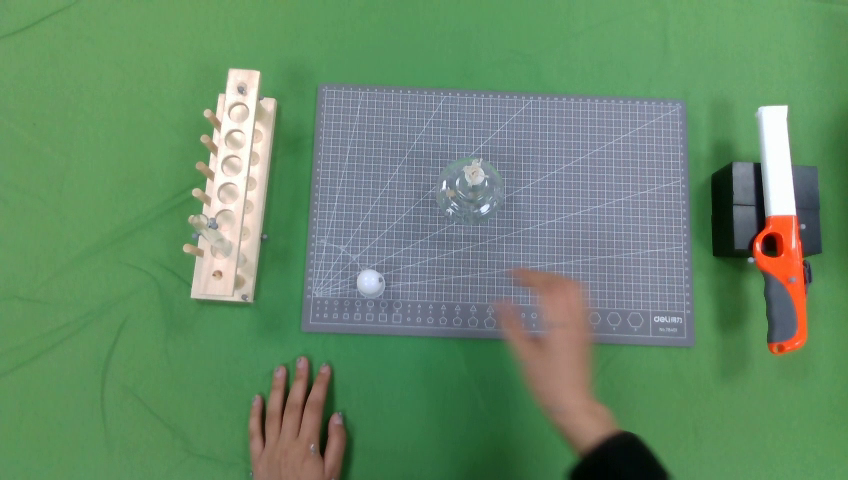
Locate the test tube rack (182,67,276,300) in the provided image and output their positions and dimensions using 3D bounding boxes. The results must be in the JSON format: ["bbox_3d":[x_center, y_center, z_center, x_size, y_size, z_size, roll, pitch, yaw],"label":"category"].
[{"bbox_3d":[-0.219,-0.060,0.669,0.067,0.085,0.241,5,80,-1],"label":"test tube rack"}]

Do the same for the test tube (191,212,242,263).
[{"bbox_3d":[-0.206,0.001,0.609,0.017,0.151,0.017,1,75,-4],"label":"test tube"}]

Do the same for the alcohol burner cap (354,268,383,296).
[{"bbox_3d":[-0.063,0.045,0.676,0.034,0.048,0.033,0,81,-2],"label":"alcohol burner cap"}]

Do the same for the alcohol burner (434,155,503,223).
[{"bbox_3d":[0.050,-0.060,0.662,0.078,0.119,0.077,0,81,-1],"label":"alcohol burner"}]

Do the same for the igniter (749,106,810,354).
[{"bbox_3d":[0.387,-0.015,0.666,0.057,0.025,0.275,0,80,10],"label":"igniter"}]
